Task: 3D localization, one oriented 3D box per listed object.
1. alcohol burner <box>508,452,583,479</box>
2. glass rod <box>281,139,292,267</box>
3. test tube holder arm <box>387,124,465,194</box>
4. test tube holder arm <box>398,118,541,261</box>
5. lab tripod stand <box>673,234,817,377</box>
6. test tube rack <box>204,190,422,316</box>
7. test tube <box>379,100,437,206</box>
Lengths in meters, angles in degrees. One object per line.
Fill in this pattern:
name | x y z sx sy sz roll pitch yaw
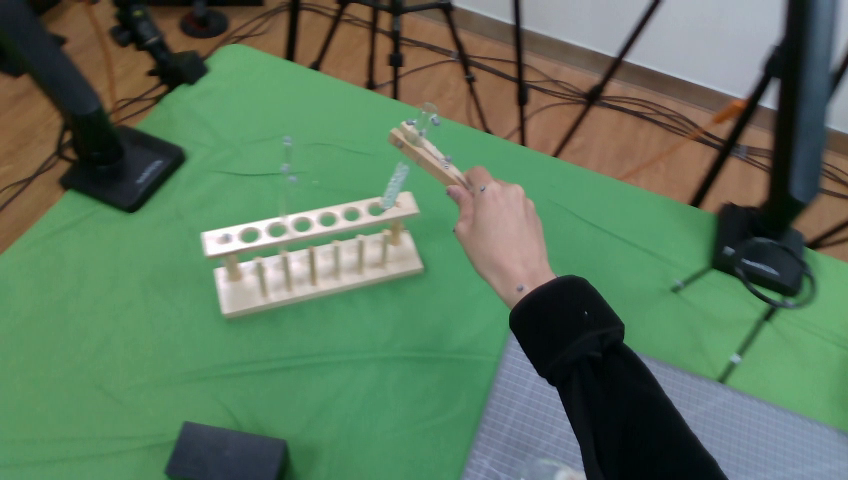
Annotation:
alcohol burner | 0.120 0.234 0.568 0.078 0.120 0.077 4 54 -6
glass rod | -0.152 -0.032 0.667 0.008 0.201 0.008 8 47 -8
test tube holder arm | 0.003 -0.074 0.553 0.087 0.015 0.010 38 57 6
test tube holder arm | 0.040 -0.047 0.549 0.177 0.015 0.013 44 58 10
lab tripod stand | 0.377 0.071 0.708 0.148 0.132 0.147 4 56 -5
test tube rack | -0.124 0.014 0.719 0.243 0.086 0.066 -12 57 -15
test tube | -0.018 -0.078 0.580 0.017 0.151 0.017 10 57 -15
